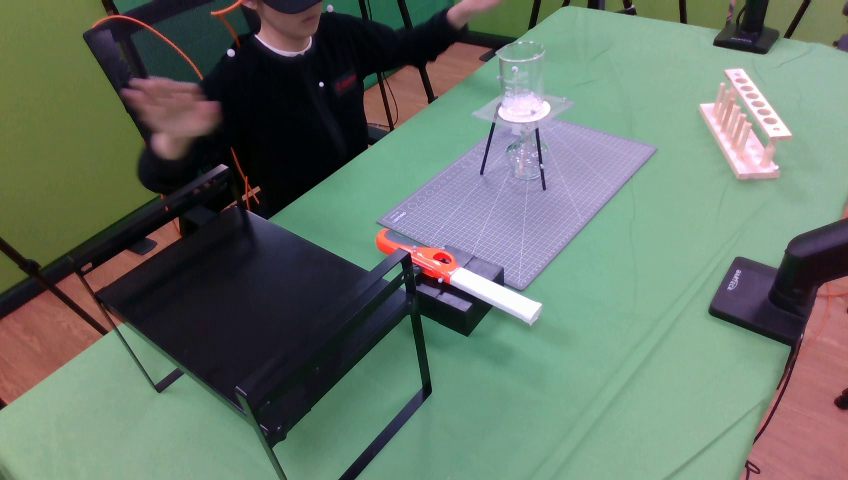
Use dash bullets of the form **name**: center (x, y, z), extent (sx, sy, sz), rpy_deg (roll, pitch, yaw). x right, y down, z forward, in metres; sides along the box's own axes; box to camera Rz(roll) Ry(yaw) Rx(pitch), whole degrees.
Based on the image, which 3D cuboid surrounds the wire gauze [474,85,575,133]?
- **wire gauze**: center (0.168, -0.219, 1.015), extent (0.125, 0.011, 0.120), rpy_deg (-38, 45, -26)

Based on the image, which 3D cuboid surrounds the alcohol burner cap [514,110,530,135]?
- **alcohol burner cap**: center (0.194, -0.235, 1.200), extent (0.034, 0.048, 0.033), rpy_deg (-5, 42, 5)

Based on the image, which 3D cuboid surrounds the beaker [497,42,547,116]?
- **beaker**: center (0.160, -0.261, 0.989), extent (0.083, 0.101, 0.074), rpy_deg (16, 46, 28)

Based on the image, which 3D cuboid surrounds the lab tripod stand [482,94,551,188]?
- **lab tripod stand**: center (0.172, -0.176, 1.064), extent (0.148, 0.132, 0.147), rpy_deg (-5, 42, 5)

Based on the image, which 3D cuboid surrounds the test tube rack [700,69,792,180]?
- **test tube rack**: center (0.572, -0.215, 1.089), extent (0.066, 0.085, 0.241), rpy_deg (-3, 41, 7)

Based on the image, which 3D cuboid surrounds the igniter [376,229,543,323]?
- **igniter**: center (0.038, 0.044, 0.843), extent (0.274, 0.025, 0.057), rpy_deg (25, 47, 29)

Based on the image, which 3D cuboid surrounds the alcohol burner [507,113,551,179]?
- **alcohol burner**: center (0.186, -0.169, 1.069), extent (0.078, 0.119, 0.077), rpy_deg (-5, 39, 4)
